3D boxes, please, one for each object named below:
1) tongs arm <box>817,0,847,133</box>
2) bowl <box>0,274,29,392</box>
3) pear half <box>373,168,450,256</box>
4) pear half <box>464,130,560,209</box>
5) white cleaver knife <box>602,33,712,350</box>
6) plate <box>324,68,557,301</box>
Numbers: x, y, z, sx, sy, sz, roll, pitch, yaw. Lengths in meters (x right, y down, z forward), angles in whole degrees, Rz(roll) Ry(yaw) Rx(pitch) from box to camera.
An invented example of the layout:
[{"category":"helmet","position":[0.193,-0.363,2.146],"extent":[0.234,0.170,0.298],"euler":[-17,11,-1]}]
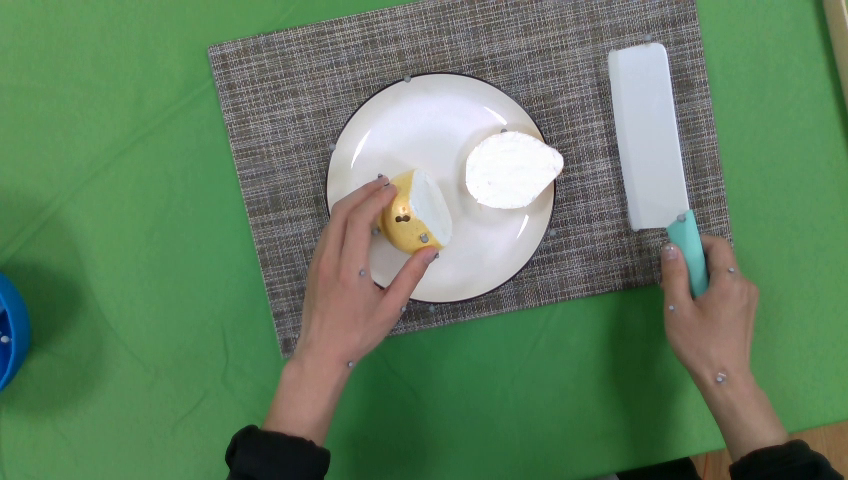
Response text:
[{"category":"tongs arm","position":[0.411,-0.121,0.566],"extent":[0.028,0.027,0.388],"euler":[-20,96,0]},{"category":"bowl","position":[-0.421,0.078,0.546],"extent":[0.151,0.076,0.151],"euler":[0,96,-1]},{"category":"pear half","position":[-0.019,-0.019,0.515],"extent":[0.056,0.110,0.076],"euler":[-27,86,14]},{"category":"pear half","position":[0.080,-0.065,0.551],"extent":[0.088,0.031,0.070],"euler":[-6,95,17]},{"category":"white cleaver knife","position":[0.211,-0.038,0.547],"extent":[0.021,0.065,0.287],"euler":[-17,98,-36]},{"category":"plate","position":[0.015,-0.049,0.557],"extent":[0.208,0.039,0.208],"euler":[0,96,-1]}]
